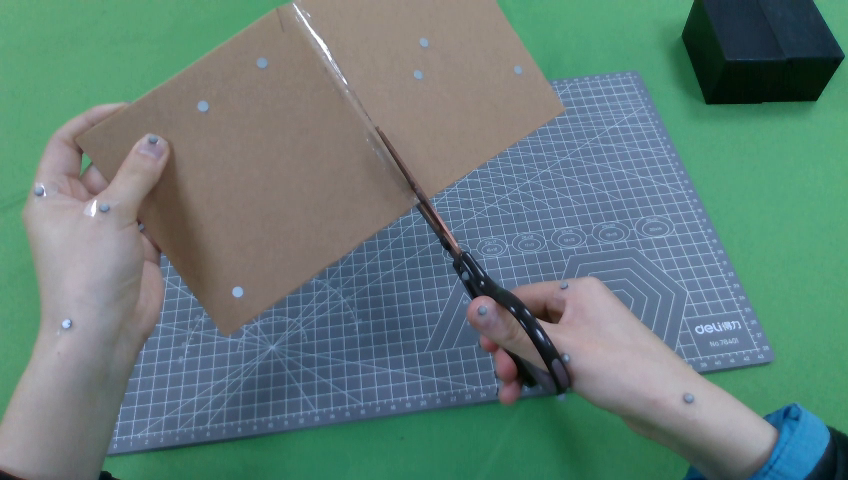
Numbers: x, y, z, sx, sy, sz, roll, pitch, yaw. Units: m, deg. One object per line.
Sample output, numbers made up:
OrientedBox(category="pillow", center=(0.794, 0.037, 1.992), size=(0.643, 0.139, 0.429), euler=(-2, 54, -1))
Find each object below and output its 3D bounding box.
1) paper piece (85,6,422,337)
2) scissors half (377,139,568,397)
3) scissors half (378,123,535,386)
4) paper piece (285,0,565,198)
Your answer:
OrientedBox(category="paper piece", center=(-0.095, -0.038, 0.339), size=(0.138, 0.008, 0.136), euler=(-34, 89, 1))
OrientedBox(category="scissors half", center=(0.021, 0.007, 0.325), size=(0.013, 0.040, 0.174), euler=(-31, 69, -13))
OrientedBox(category="scissors half", center=(0.019, 0.010, 0.349), size=(0.013, 0.040, 0.176), euler=(-32, 102, -8))
OrientedBox(category="paper piece", center=(0.009, -0.110, 0.368), size=(0.136, 0.004, 0.135), euler=(-34, 91, -28))
